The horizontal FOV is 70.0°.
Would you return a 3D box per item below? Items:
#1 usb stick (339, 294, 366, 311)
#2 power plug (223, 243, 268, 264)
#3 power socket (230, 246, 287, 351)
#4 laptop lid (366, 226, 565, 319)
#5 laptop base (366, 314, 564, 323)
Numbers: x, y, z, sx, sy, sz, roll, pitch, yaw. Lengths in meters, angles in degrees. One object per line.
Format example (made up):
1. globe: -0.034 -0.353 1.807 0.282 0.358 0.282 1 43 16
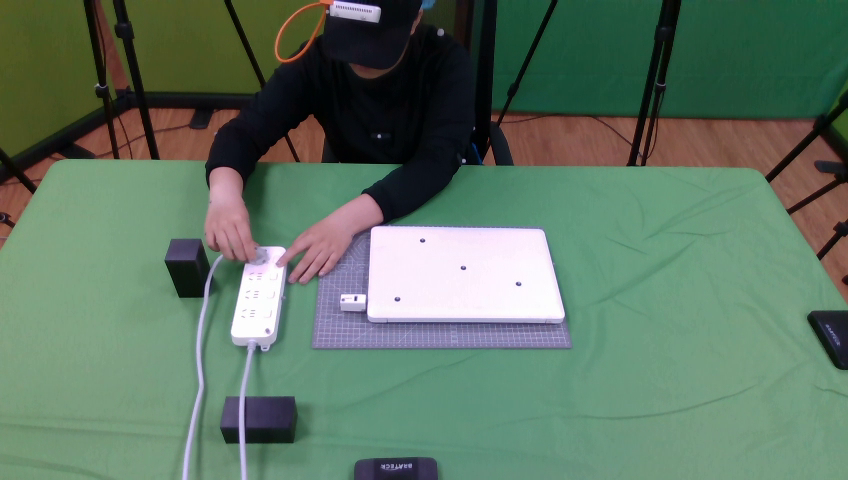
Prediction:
1. usb stick: -0.119 0.111 1.068 0.059 0.027 0.021 4 47 -5
2. power plug: -0.324 0.026 1.113 0.072 0.053 0.035 8 46 7
3. power socket: -0.291 0.095 1.077 0.072 0.033 0.225 -1 46 -3
4. laptop lid: 0.072 0.055 1.137 0.357 0.013 0.240 2 44 -3
5. laptop base: 0.071 0.065 1.144 0.355 0.023 0.234 1 42 -4
